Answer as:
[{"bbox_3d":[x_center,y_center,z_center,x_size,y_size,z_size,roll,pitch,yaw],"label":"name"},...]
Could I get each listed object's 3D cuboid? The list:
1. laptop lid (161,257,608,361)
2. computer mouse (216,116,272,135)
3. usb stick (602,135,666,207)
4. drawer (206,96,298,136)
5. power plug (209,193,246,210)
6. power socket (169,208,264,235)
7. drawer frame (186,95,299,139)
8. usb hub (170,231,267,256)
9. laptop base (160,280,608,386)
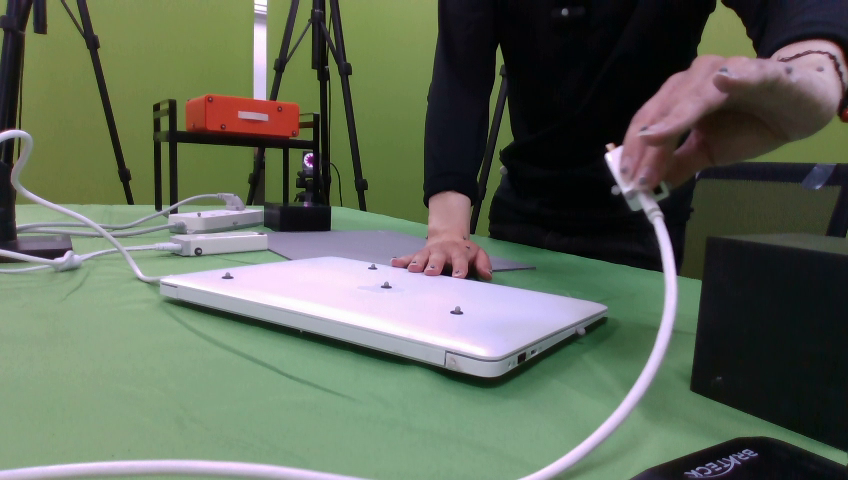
[{"bbox_3d":[-0.037,0.046,0.556,0.355,0.013,0.243,8,7,35],"label":"laptop lid"},{"bbox_3d":[-0.402,-0.258,1.353,0.118,0.041,0.062,-6,15,-35],"label":"computer mouse"},{"bbox_3d":[0.138,-0.051,0.407,0.021,0.027,0.059,39,26,-28],"label":"usb stick"},{"bbox_3d":[-0.414,-0.277,1.376,0.195,0.073,0.210,-3,9,-31],"label":"drawer"},{"bbox_3d":[-0.389,-0.067,1.205,0.072,0.052,0.035,4,8,27],"label":"power plug"},{"bbox_3d":[-0.381,-0.038,1.129,0.072,0.032,0.227,4,8,16],"label":"power socket"},{"bbox_3d":[-0.417,-0.277,1.378,0.203,0.082,0.212,-3,8,-32],"label":"drawer frame"},{"bbox_3d":[-0.290,0.004,0.862,0.049,0.025,0.126,10,11,42],"label":"usb hub"},{"bbox_3d":[-0.039,0.060,0.556,0.352,0.023,0.237,8,7,33],"label":"laptop base"}]
